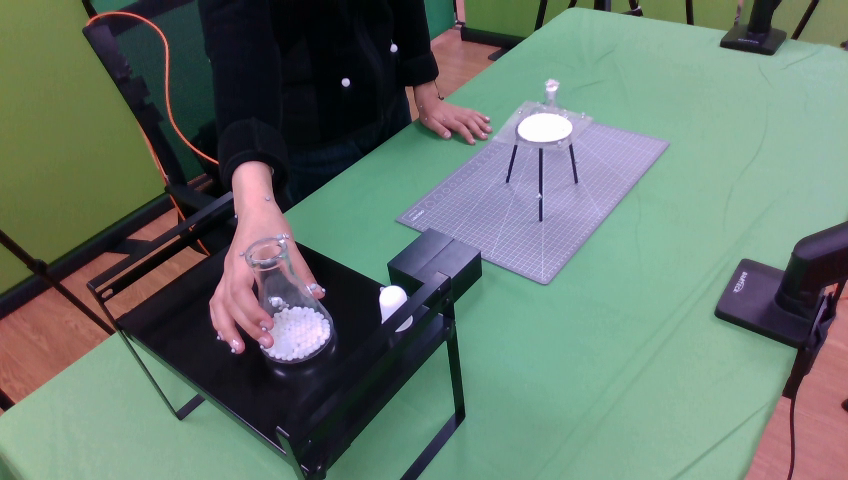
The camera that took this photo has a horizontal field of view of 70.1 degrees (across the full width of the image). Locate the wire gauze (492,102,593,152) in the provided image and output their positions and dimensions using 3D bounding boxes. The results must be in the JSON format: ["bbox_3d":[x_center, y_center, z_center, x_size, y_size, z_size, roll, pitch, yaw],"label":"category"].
[{"bbox_3d":[0.190,-0.180,0.964,0.120,0.011,0.125,19,47,27],"label":"wire gauze"}]

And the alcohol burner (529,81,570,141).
[{"bbox_3d":[0.241,-0.251,1.159,0.078,0.119,0.077,-4,42,4],"label":"alcohol burner"}]

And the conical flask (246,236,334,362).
[{"bbox_3d":[-0.133,0.054,0.575,0.075,0.122,0.075,-5,41,4],"label":"conical flask"}]

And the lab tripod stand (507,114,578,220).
[{"bbox_3d":[0.198,-0.128,1.005,0.148,0.132,0.147,-3,42,4],"label":"lab tripod stand"}]

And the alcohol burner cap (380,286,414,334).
[{"bbox_3d":[-0.029,0.068,0.605,0.034,0.048,0.033,-5,39,4],"label":"alcohol burner cap"}]
